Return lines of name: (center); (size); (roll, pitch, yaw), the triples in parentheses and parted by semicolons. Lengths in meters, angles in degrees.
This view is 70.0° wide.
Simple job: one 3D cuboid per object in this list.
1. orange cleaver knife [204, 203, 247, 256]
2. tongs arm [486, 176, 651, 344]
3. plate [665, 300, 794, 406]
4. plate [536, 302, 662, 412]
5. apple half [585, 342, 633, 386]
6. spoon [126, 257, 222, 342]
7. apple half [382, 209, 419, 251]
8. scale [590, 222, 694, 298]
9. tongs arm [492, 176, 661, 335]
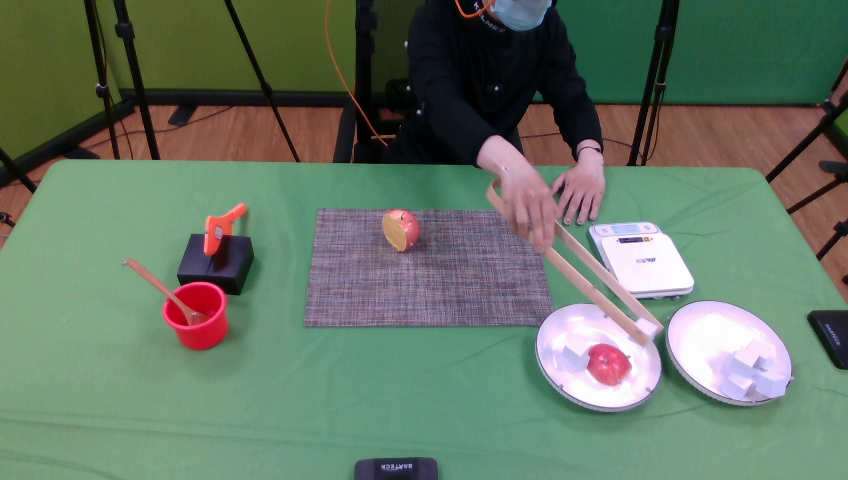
orange cleaver knife: (-0.374, -0.024, 1.146); (0.012, 0.077, 0.211); (4, 14, 1)
tongs arm: (0.241, 0.026, 1.041); (0.051, 0.026, 0.383); (-33, 67, -35)
plate: (0.513, 0.194, 1.034); (0.208, 0.039, 0.206); (2, 46, -2)
plate: (0.288, 0.197, 1.016); (0.209, 0.038, 0.208); (2, 46, -2)
apple half: (0.309, 0.198, 1.008); (0.081, 0.033, 0.081); (4, 48, -4)
spoon: (-0.408, 0.096, 0.990); (0.194, 0.021, 0.041); (50, 53, -18)
apple half: (-0.039, -0.022, 1.175); (0.053, 0.075, 0.080); (-27, 50, -31)
scale: (0.424, 0.031, 1.189); (0.149, 0.032, 0.199); (-3, 46, -7)
tongs arm: (0.258, 0.018, 1.053); (0.028, 0.028, 0.385); (-29, 65, -30)
